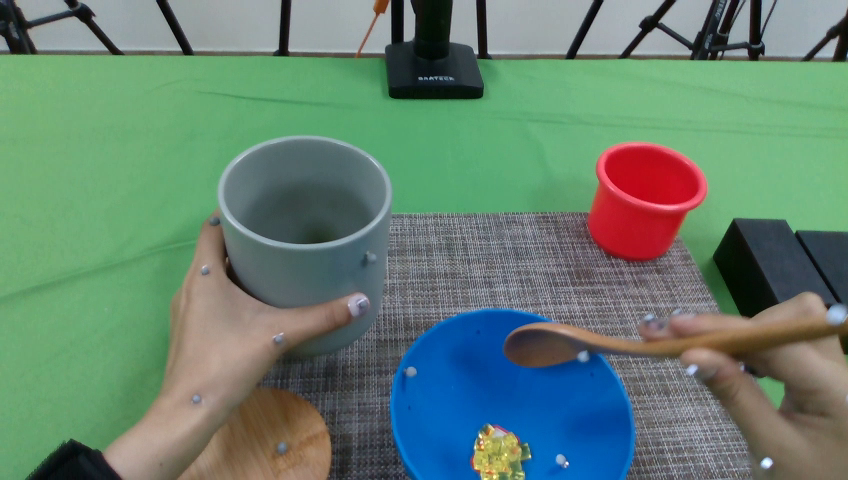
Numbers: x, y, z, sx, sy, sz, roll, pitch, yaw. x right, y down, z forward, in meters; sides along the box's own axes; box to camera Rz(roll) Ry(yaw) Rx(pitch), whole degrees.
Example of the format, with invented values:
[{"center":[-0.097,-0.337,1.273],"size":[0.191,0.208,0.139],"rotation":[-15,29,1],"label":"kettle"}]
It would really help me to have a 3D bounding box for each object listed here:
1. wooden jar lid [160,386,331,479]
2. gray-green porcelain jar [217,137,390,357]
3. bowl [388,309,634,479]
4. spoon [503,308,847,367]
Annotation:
[{"center":[-0.116,0.149,0.402],"size":[0.108,0.021,0.107],"rotation":[2,44,-2],"label":"wooden jar lid"},{"center":[-0.080,0.011,0.419],"size":[0.106,0.127,0.105],"rotation":[5,46,-5],"label":"gray-green porcelain jar"},{"center":[0.051,0.127,0.396],"size":[0.151,0.077,0.150],"rotation":[3,45,-2],"label":"bowl"},{"center":[0.115,0.053,0.314],"size":[0.042,0.193,0.021],"rotation":[40,60,-24],"label":"spoon"}]
